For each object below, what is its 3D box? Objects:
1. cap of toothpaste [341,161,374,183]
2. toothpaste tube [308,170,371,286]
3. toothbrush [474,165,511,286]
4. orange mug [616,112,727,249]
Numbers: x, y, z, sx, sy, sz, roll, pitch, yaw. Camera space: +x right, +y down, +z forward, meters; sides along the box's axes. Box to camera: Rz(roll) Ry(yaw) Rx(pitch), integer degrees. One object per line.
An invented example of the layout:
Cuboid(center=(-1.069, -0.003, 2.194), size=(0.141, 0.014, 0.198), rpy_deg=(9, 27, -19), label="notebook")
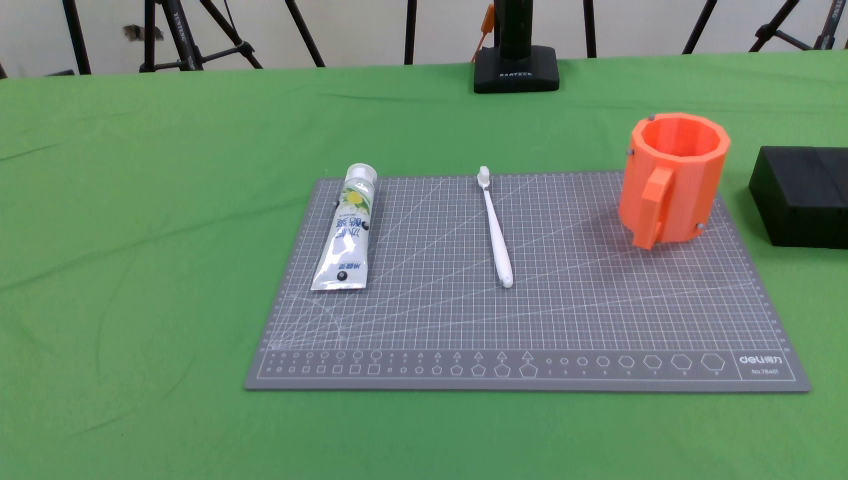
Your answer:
Cuboid(center=(-0.075, -0.073, 0.683), size=(0.037, 0.038, 0.011), rpy_deg=(-1, 46, 5), label="cap of toothpaste")
Cuboid(center=(-0.082, -0.016, 0.631), size=(0.055, 0.035, 0.163), rpy_deg=(-6, 45, 10), label="toothpaste tube")
Cuboid(center=(0.070, -0.021, 0.627), size=(0.014, 0.017, 0.180), rpy_deg=(6, 42, -11), label="toothbrush")
Cuboid(center=(0.229, -0.053, 0.583), size=(0.083, 0.102, 0.126), rpy_deg=(19, 43, 26), label="orange mug")
